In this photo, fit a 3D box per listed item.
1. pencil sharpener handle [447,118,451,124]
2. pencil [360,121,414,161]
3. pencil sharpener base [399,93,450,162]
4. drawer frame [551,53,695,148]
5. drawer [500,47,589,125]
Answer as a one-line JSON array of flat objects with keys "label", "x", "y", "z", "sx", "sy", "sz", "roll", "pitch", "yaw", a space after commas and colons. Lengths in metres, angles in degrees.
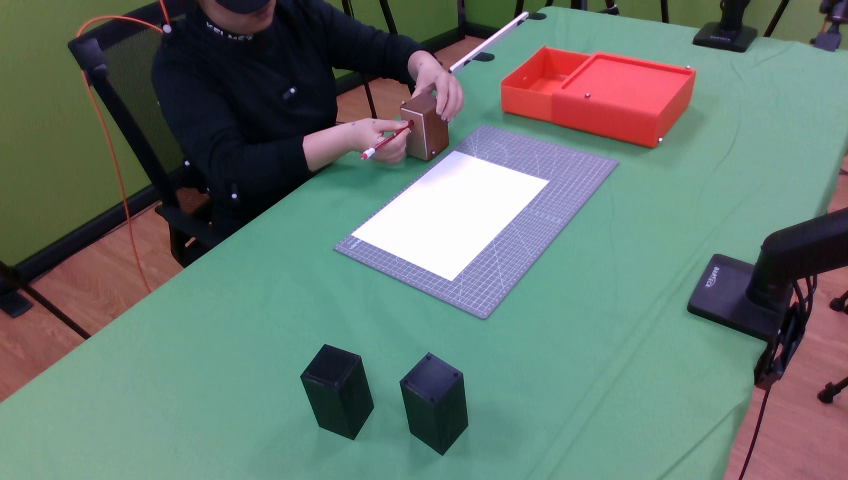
[{"label": "pencil sharpener handle", "x": 0.035, "y": -0.253, "z": 1.179, "sx": 0.035, "sy": 0.068, "sz": 0.031, "roll": 17, "pitch": 45, "yaw": 36}, {"label": "pencil", "x": -0.050, "y": -0.192, "z": 1.095, "sx": 0.012, "sy": 0.012, "sz": 0.194, "roll": 23, "pitch": 47, "yaw": 31}, {"label": "pencil sharpener base", "x": 0.004, "y": -0.216, "z": 1.159, "sx": 0.061, "sy": 0.107, "sz": 0.077, "roll": 23, "pitch": 48, "yaw": 32}, {"label": "drawer frame", "x": 0.391, "y": -0.281, "z": 1.196, "sx": 0.212, "sy": 0.083, "sz": 0.202, "roll": 22, "pitch": 48, "yaw": 29}, {"label": "drawer", "x": 0.295, "y": -0.316, "z": 1.255, "sx": 0.210, "sy": 0.073, "sz": 0.195, "roll": 22, "pitch": 47, "yaw": 29}]
